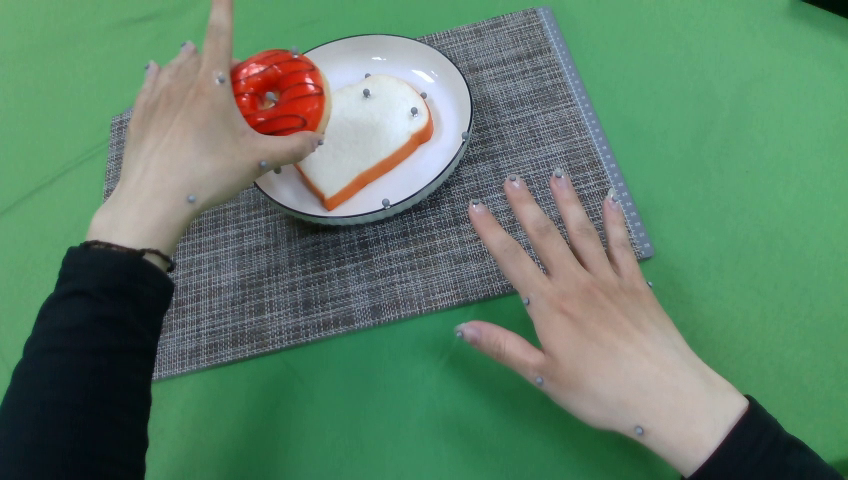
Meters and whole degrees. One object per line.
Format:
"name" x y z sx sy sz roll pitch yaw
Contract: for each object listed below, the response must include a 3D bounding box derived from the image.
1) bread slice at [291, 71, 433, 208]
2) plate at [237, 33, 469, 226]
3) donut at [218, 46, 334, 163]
"bread slice" -0.061 -0.101 0.547 0.131 0.019 0.104 -37 63 -10
"plate" -0.061 -0.098 0.544 0.207 0.039 0.206 -4 61 7
"donut" -0.119 -0.109 0.483 0.099 0.048 0.098 -5 73 16
